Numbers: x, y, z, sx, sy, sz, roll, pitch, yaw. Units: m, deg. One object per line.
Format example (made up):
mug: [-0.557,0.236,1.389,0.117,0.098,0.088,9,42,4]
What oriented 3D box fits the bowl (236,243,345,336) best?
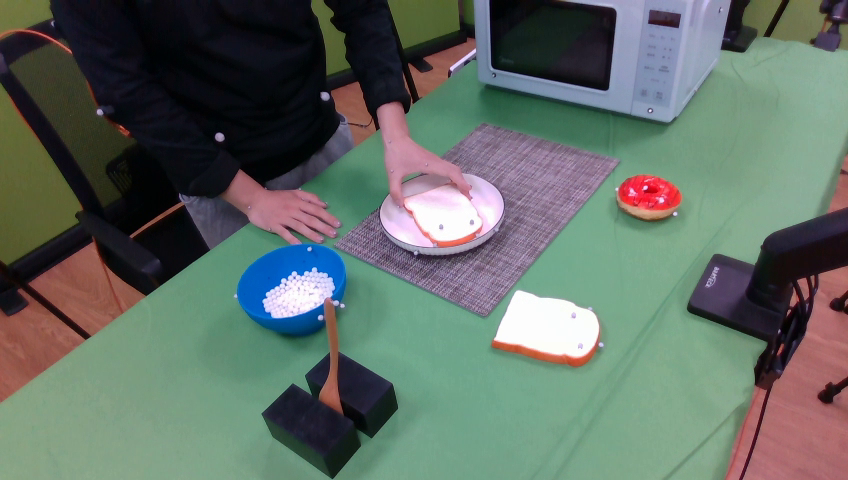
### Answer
bowl: [-0.180,0.082,0.855,0.151,0.077,0.150,-4,41,4]

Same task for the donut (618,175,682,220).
donut: [0.366,-0.070,0.981,0.099,0.048,0.098,-3,39,3]

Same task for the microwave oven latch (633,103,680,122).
microwave oven latch: [0.444,-0.249,1.157,0.078,0.029,0.030,21,49,30]

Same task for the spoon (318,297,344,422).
spoon: [-0.107,0.139,0.687,0.041,0.194,0.022,27,37,32]

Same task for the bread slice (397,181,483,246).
bread slice: [0.034,-0.041,0.987,0.107,0.018,0.133,-24,48,-18]

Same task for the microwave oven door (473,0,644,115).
microwave oven door: [0.257,-0.396,1.199,0.353,0.245,0.039,21,48,29]

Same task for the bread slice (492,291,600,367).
bread slice: [0.169,0.118,0.811,0.131,0.019,0.105,11,44,21]

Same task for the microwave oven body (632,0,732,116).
microwave oven body: [0.377,-0.462,1.267,0.438,0.261,0.327,21,49,30]

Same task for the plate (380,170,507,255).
plate: [0.033,-0.042,0.996,0.207,0.039,0.206,-4,40,4]
